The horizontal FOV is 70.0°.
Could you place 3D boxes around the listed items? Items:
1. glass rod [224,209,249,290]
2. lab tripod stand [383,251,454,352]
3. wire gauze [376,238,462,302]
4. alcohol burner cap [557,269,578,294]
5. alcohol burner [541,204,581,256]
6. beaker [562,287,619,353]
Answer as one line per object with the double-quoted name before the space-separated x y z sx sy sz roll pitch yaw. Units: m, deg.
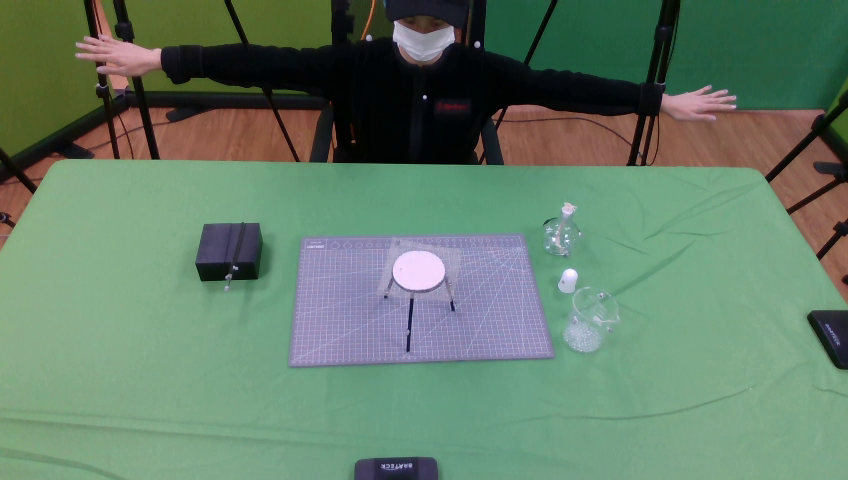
"glass rod" -0.340 0.013 1.102 0.008 0.008 0.198 2 45 -3
"lab tripod stand" -0.015 0.094 1.025 0.148 0.132 0.147 1 46 -1
"wire gauze" -0.006 0.048 0.977 0.121 0.011 0.124 9 46 5
"alcohol burner cap" 0.270 0.074 1.135 0.034 0.048 0.033 2 46 -2
"alcohol burner" 0.271 -0.026 1.182 0.078 0.119 0.077 4 46 -3
"beaker" 0.281 0.140 1.032 0.083 0.101 0.074 33 53 24
